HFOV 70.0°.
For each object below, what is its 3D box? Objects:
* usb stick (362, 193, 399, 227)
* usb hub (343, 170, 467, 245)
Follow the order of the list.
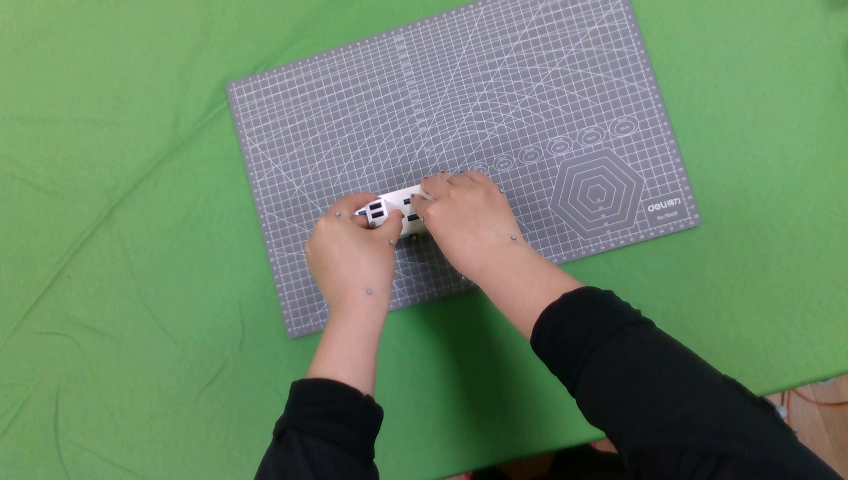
[{"bbox_3d":[-0.042,-0.029,0.614,0.021,0.059,0.027,-20,80,11],"label":"usb stick"},{"bbox_3d":[-0.021,-0.034,0.642,0.125,0.025,0.049,-15,83,6],"label":"usb hub"}]
